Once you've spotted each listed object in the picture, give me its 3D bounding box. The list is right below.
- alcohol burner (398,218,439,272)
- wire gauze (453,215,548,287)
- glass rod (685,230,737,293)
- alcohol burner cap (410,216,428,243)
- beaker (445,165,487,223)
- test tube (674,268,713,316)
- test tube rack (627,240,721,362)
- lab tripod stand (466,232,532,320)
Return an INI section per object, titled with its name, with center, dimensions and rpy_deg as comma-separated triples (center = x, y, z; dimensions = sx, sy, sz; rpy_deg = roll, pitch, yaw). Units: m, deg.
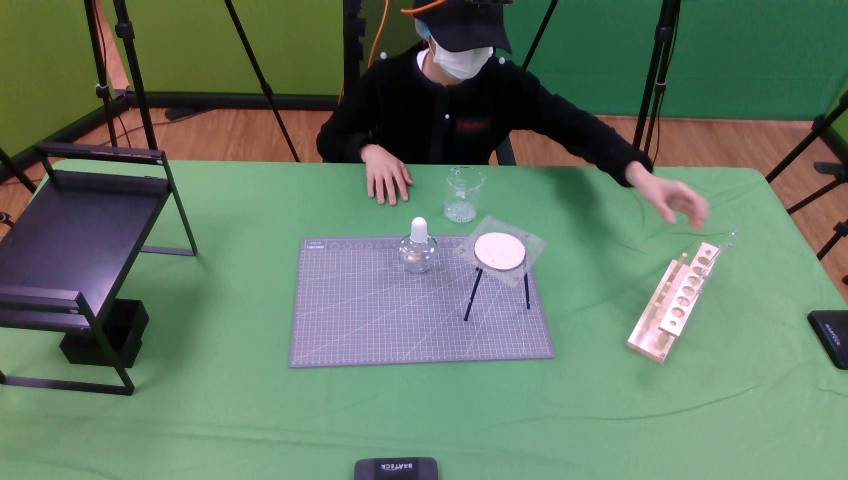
[alcohol burner]
center = -0.010, 0.004, 1.123
dimensions = 0.078, 0.120, 0.077
rpy_deg = 1, 47, 0
[wire gauze]
center = 0.129, 0.013, 1.017
dimensions = 0.124, 0.011, 0.121
rpy_deg = 28, 50, 23
[glass rod]
center = 0.495, 0.042, 1.051
dimensions = 0.008, 0.200, 0.008
rpy_deg = 2, 55, -2
[alcohol burner cap]
center = -0.009, -0.022, 1.099
dimensions = 0.034, 0.048, 0.033
rpy_deg = 2, 42, -1
[beaker]
center = 0.082, -0.091, 1.236
dimensions = 0.084, 0.101, 0.073
rpy_deg = -7, 48, -11
[test tube]
center = 0.445, 0.098, 1.017
dimensions = 0.017, 0.151, 0.017
rpy_deg = 4, 48, -4
[test tube rack]
center = 0.452, 0.098, 1.087
dimensions = 0.066, 0.085, 0.242
rpy_deg = 28, 51, 22
[lab tripod stand]
center = 0.125, 0.059, 1.065
dimensions = 0.148, 0.132, 0.147
rpy_deg = 1, 45, 0
